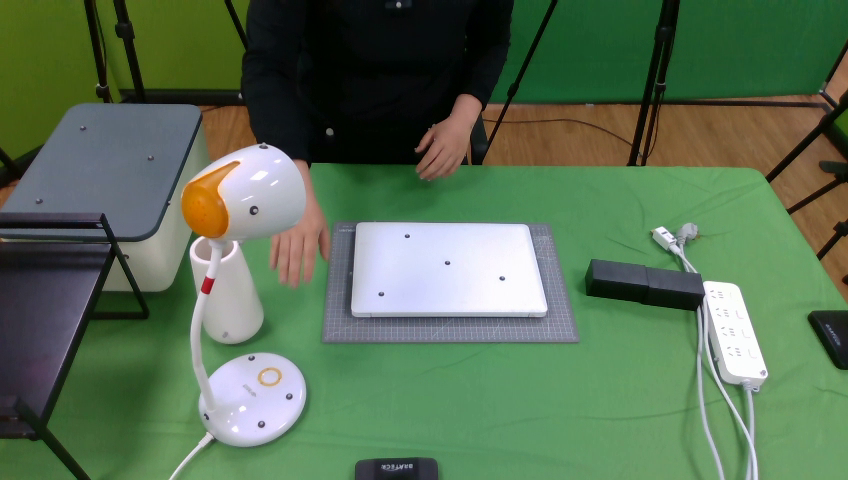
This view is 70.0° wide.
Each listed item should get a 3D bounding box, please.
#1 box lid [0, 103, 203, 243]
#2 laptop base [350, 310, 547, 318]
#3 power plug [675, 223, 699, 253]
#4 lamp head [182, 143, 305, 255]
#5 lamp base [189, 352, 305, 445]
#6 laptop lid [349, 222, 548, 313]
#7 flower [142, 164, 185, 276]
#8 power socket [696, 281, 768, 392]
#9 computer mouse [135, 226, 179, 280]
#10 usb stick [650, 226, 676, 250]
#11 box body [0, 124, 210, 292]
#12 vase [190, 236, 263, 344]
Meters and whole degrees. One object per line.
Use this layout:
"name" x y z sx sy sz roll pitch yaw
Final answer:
"box lid" -0.563 -0.132 1.079 0.263 0.015 0.369 1 46 -3
"laptop base" 0.041 0.056 1.149 0.355 0.023 0.234 0 43 -4
"power plug" 0.537 0.000 1.243 0.053 0.035 0.072 20 81 -18
"lamp head" -0.216 -0.044 0.697 0.112 0.113 0.123 23 31 17
"lamp base" -0.268 0.196 0.876 0.160 0.181 0.179 25 52 20
"laptop lid" 0.042 0.046 1.142 0.357 0.013 0.240 2 44 -3
"flower" -0.492 -0.055 1.173 0.044 0.038 0.359 -40 34 19
"power socket" 0.543 0.161 1.077 0.072 0.033 0.225 5 46 2
"computer mouse" -0.492 0.020 1.118 0.063 0.041 0.116 1 54 -10
"usb stick" 0.485 -0.008 1.238 0.021 0.027 0.059 -17 43 -14
"box body" -0.568 -0.082 1.134 0.254 0.161 0.361 2 46 -3
"vase" -0.317 0.081 0.971 0.098 0.201 0.097 3 47 -3
